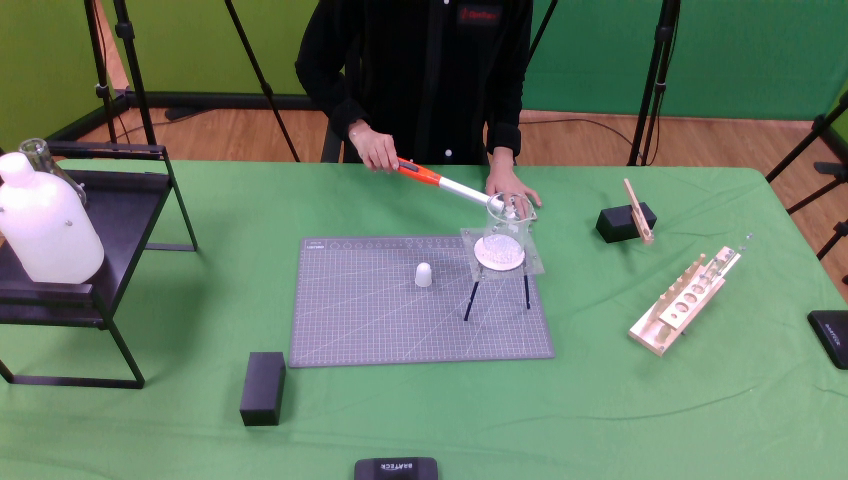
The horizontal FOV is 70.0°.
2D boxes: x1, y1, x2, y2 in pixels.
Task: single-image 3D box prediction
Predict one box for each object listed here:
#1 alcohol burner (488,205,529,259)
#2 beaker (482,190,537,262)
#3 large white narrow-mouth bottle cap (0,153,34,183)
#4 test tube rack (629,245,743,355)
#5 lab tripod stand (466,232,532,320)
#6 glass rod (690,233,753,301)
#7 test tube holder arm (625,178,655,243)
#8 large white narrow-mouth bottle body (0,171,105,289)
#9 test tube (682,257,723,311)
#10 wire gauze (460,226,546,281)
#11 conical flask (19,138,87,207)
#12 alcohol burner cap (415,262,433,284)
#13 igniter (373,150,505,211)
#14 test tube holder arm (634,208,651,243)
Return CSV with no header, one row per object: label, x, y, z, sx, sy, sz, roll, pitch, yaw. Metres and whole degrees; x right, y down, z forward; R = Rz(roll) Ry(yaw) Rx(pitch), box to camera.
alcohol burner,0.163,-0.020,1.158,0.078,0.120,0.077,0,47,0
beaker,0.136,-0.019,0.983,0.084,0.101,0.073,17,47,14
large white narrow-mouth bottle cap,-0.510,-0.090,0.754,0.038,0.024,0.037,2,46,-2
test tube rack,0.474,0.095,1.091,0.242,0.085,0.066,-34,56,-31
lab tripod stand,0.125,0.059,1.065,0.148,0.132,0.147,1,45,0
glass rod,0.507,0.053,1.041,0.008,0.200,0.008,5,51,-6
test tube holder arm,0.433,-0.062,1.220,0.013,0.015,0.177,1,47,-3
large white narrow-mouth bottle body,-0.513,-0.029,0.818,0.102,0.195,0.101,2,46,-2
test tube,0.475,0.080,1.037,0.017,0.151,0.017,1,51,-1
wire gauze,0.130,0.017,1.016,0.121,0.011,0.124,-4,43,-9
conical flask,-0.576,-0.097,0.930,0.075,0.122,0.075,2,46,-2
alcohol burner cap,0.001,0.058,1.122,0.034,0.048,0.033,1,63,-2
igniter,0.023,-0.115,1.149,0.276,0.057,0.025,23,79,14
test tube holder arm,0.428,-0.030,1.189,0.010,0.015,0.087,1,47,-2
